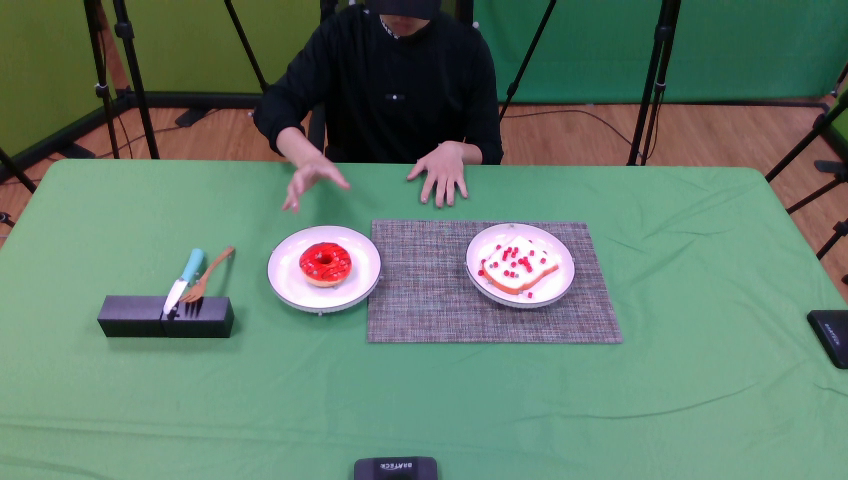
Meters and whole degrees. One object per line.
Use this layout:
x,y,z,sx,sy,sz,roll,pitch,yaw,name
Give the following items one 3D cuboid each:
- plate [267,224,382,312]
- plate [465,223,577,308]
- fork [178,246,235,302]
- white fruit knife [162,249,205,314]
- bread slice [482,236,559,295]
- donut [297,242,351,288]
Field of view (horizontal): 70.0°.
-0.182,0.055,1.120,0.208,0.039,0.206,2,46,-2,plate
0.180,0.051,1.144,0.209,0.038,0.208,2,45,-2,plate
-0.380,0.057,1.075,0.028,0.019,0.206,1,28,6,fork
-0.420,0.070,1.063,0.027,0.016,0.206,-1,29,-2,white fruit knife
0.177,0.050,1.148,0.131,0.019,0.104,-32,55,-30,bread slice
-0.182,0.045,1.112,0.099,0.048,0.098,4,45,-4,donut
